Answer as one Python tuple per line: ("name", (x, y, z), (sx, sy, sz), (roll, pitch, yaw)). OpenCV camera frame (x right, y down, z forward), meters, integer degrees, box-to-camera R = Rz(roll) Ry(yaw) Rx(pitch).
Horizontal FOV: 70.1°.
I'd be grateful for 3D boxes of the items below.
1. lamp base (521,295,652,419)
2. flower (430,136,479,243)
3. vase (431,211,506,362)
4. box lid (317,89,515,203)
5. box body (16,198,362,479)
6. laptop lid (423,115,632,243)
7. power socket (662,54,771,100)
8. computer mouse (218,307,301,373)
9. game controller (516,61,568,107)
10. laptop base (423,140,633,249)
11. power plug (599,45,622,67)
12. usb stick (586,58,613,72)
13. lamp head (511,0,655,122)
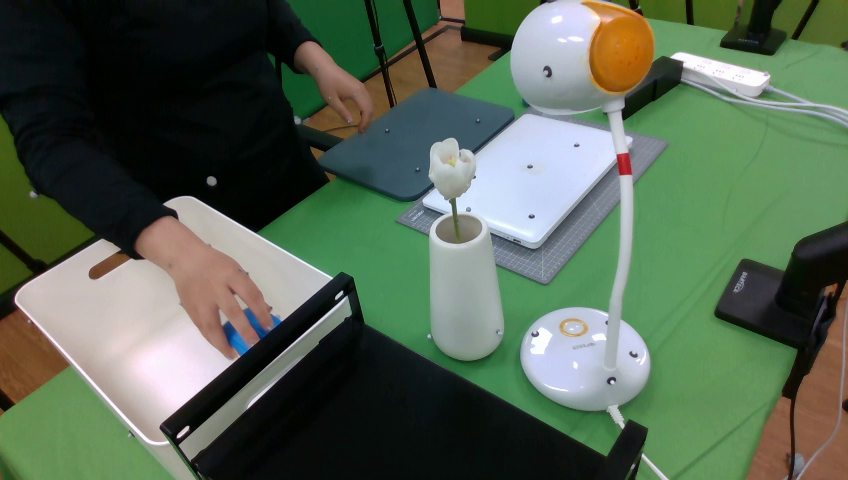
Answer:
("lamp base", (0.201, 0.095, 0.710), (0.161, 0.181, 0.177), (-16, 43, -10))
("flower", (0.041, 0.011, 0.691), (0.044, 0.363, 0.038), (16, 62, 14))
("vase", (0.054, 0.062, 0.757), (0.098, 0.201, 0.097), (-3, 40, 3))
("box lid", (-0.009, -0.207, 1.236), (0.261, 0.015, 0.372), (23, 49, 31))
("box body", (-0.285, 0.123, 0.766), (0.361, 0.161, 0.255), (25, 49, 33))
("laptop lid", (0.190, -0.126, 1.081), (0.239, 0.013, 0.358), (23, 48, 34))
("power socket", (0.615, -0.348, 1.284), (0.072, 0.033, 0.225), (-36, 48, -29))
("computer mouse", (-0.198, 0.120, 0.732), (0.116, 0.041, 0.063), (24, 48, 36))
("game controller", (0.259, -0.352, 1.336), (0.097, 0.052, 0.154), (-3, 41, 2))
("laptop base", (0.194, -0.117, 1.087), (0.233, 0.023, 0.355), (20, 47, 34))
("power plug", (0.437, -0.423, 1.412), (0.053, 0.035, 0.072), (-19, 74, -46))
("usb stick", (0.401, -0.399, 1.380), (0.059, 0.027, 0.021), (1, 48, 20))
("lamp head", (0.155, -0.168, 0.564), (0.113, 0.113, 0.122), (-18, 23, -12))
